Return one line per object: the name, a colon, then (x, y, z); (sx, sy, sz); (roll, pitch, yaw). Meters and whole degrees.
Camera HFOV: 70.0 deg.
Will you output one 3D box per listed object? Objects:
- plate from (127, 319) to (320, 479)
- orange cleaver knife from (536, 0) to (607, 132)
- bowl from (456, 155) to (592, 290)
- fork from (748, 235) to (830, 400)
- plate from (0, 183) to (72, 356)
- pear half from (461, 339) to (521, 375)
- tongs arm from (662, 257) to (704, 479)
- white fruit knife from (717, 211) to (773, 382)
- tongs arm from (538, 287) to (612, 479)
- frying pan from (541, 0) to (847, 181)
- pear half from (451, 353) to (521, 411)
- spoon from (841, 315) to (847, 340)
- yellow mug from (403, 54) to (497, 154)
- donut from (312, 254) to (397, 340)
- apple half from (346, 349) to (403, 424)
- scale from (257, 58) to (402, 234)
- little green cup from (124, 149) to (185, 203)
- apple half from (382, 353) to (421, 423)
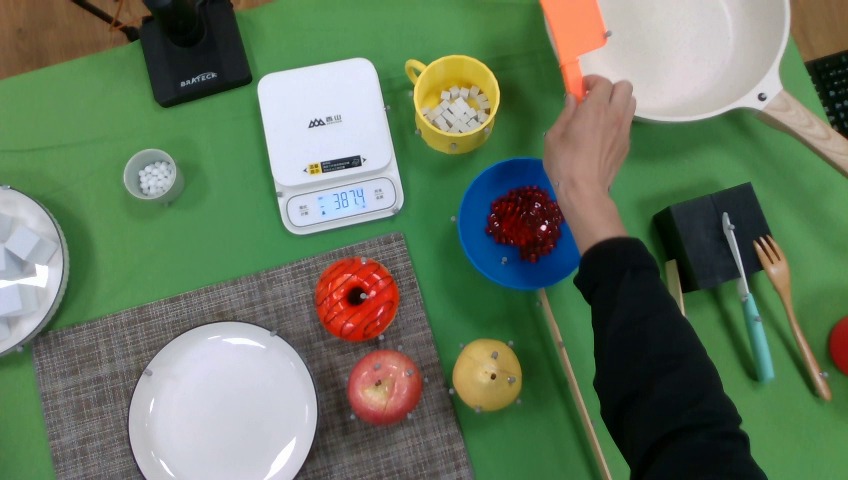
plate: (-0.218, 0.192, 0.675); (0.209, 0.038, 0.208); (0, 80, 0)
orange cleaver knife: (0.159, -0.224, 0.649); (0.077, 0.012, 0.211); (-18, 92, -13)
bowl: (0.109, -0.014, 0.697); (0.151, 0.077, 0.151); (0, 81, 0)
fork: (0.418, 0.090, 0.689); (0.028, 0.018, 0.208); (-26, 96, -7)
plate: (-0.510, 0.036, 0.703); (0.208, 0.039, 0.207); (0, 80, 0)
pear half: (0.076, 0.125, 0.666); (0.070, 0.088, 0.031); (14, 80, 5)
tongs arm: (0.294, 0.211, 0.687); (0.028, 0.028, 0.386); (0, 80, -9)
white fruit knife: (0.361, 0.066, 0.685); (0.016, 0.027, 0.207); (-18, 96, -3)
tongs arm: (0.209, 0.227, 0.679); (0.051, 0.026, 0.383); (-16, 82, -8)
frying pan: (0.354, -0.202, 0.717); (0.306, 0.103, 0.485); (-43, 75, -6)
pear half: (0.065, 0.156, 0.650); (0.076, 0.110, 0.056); (16, 80, 7)
spoon: (0.525, 0.146, 0.639); (0.041, 0.022, 0.191); (-21, 37, -4)
yellow mug: (0.024, -0.171, 0.728); (0.130, 0.064, 0.100); (41, 82, 7)
donut: (-0.080, 0.065, 0.694); (0.099, 0.048, 0.098); (0, 81, 1)
apple half: (-0.058, 0.156, 0.665); (0.053, 0.075, 0.080); (17, 83, 6)
scale: (-0.115, -0.116, 0.735); (0.149, 0.031, 0.200); (-12, 81, -2)
little green cup: (-0.319, -0.074, 0.723); (0.061, 0.039, 0.061); (0, 80, 0)
apple half: (-0.020, 0.165, 0.662); (0.033, 0.081, 0.081); (16, 80, 5)
